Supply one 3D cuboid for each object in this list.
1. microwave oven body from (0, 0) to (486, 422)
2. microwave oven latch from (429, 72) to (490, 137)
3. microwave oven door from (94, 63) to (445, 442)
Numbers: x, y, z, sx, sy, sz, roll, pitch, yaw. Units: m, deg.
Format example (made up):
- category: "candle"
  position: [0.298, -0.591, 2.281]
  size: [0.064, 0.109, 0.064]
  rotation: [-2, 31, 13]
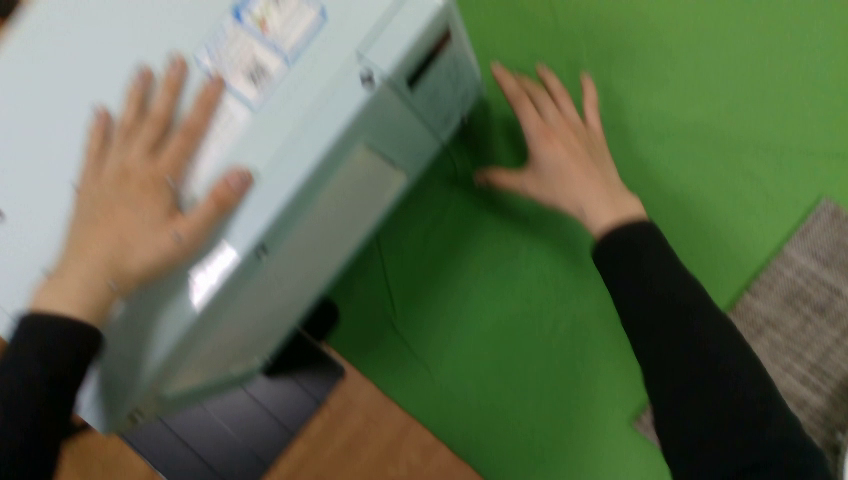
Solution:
- category: "microwave oven body"
  position: [-0.205, -0.105, 0.596]
  size: [0.325, 0.261, 0.442]
  rotation: [39, 96, 11]
- category: "microwave oven latch"
  position: [0.037, -0.150, 0.645]
  size: [0.030, 0.029, 0.079]
  rotation: [43, 97, 10]
- category: "microwave oven door"
  position: [-0.121, 0.018, 0.569]
  size: [0.039, 0.244, 0.356]
  rotation: [39, 96, 12]
